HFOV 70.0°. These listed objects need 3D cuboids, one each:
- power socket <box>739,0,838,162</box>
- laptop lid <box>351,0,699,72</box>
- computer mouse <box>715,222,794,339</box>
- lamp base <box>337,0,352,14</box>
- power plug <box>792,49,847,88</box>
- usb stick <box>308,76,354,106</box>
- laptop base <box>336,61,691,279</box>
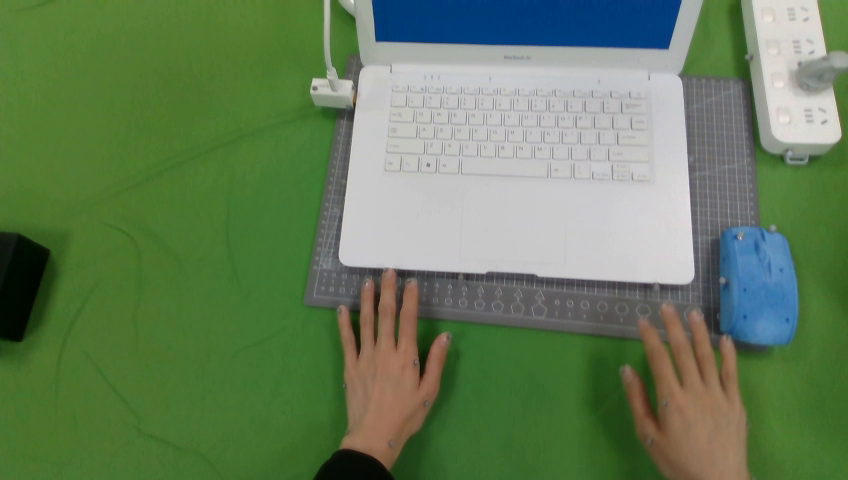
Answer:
[{"bbox_3d":[0.391,-0.193,0.656,0.072,0.033,0.225,3,71,2],"label":"power socket"},{"bbox_3d":[0.097,-0.269,0.589,0.356,0.244,0.013,1,47,5],"label":"laptop lid"},{"bbox_3d":[0.313,0.035,0.576,0.062,0.041,0.116,8,68,7],"label":"computer mouse"},{"bbox_3d":[-0.047,-0.361,0.659,0.160,0.181,0.178,-33,69,-8],"label":"lamp base"},{"bbox_3d":[0.417,-0.169,0.622,0.072,0.053,0.035,13,71,6],"label":"power plug"},{"bbox_3d":[-0.095,-0.163,0.665,0.059,0.027,0.021,7,66,3],"label":"usb stick"},{"bbox_3d":[0.093,-0.078,0.640,0.354,0.023,0.234,3,75,4],"label":"laptop base"}]
